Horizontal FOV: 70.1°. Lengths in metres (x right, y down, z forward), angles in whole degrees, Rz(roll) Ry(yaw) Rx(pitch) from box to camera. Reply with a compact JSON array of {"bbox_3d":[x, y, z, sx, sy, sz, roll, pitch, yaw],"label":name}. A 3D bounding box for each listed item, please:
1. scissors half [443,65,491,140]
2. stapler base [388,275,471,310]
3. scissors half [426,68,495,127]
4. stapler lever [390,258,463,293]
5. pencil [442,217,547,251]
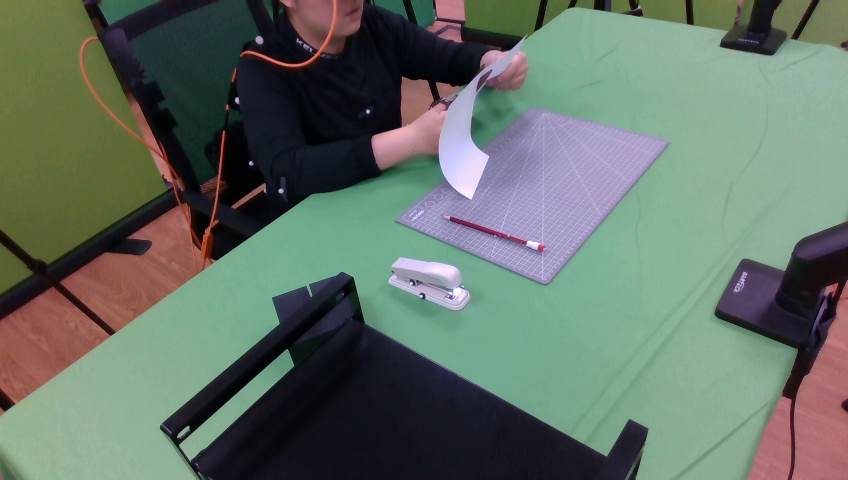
[{"bbox_3d":[0.081,-0.247,1.097,0.040,0.175,0.013,24,45,-5],"label":"scissors half"},{"bbox_3d":[0.007,0.066,0.897,0.129,0.024,0.041,17,44,29],"label":"stapler base"},{"bbox_3d":[0.064,-0.259,1.092,0.174,0.040,0.013,-30,23,38],"label":"scissors half"},{"bbox_3d":[0.003,0.046,0.881,0.117,0.040,0.027,17,44,29],"label":"stapler lever"},{"bbox_3d":[0.110,-0.012,0.980,0.192,0.012,0.012,18,46,30],"label":"pencil"}]
